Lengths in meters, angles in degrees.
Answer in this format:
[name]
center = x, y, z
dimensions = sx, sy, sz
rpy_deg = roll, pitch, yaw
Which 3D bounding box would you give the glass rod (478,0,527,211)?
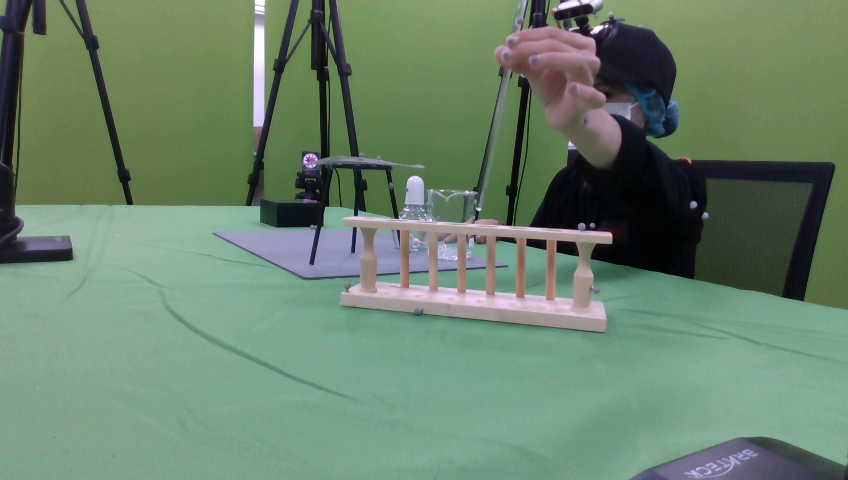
[glass rod]
center = 0.071, -0.124, 0.543
dimensions = 0.008, 0.199, 0.008
rpy_deg = 11, 6, -1

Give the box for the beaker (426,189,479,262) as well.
[beaker]
center = 0.039, -0.022, 0.871
dimensions = 0.074, 0.100, 0.084
rpy_deg = 4, 8, 12

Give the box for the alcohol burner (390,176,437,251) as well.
[alcohol burner]
center = -0.016, -0.042, 0.955
dimensions = 0.078, 0.119, 0.078
rpy_deg = 4, 6, 0

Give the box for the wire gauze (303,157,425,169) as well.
[wire gauze]
center = -0.082, -0.102, 0.799
dimensions = 0.126, 0.011, 0.121
rpy_deg = -1, 7, -30

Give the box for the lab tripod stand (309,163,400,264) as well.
[lab tripod stand]
center = -0.091, -0.037, 0.813
dimensions = 0.148, 0.131, 0.148
rpy_deg = 1, 6, 0

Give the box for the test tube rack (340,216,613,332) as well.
[test tube rack]
center = 0.047, 0.026, 0.568
dimensions = 0.242, 0.085, 0.067
rpy_deg = 4, 7, 13

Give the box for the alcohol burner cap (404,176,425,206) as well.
[alcohol burner cap]
center = -0.015, -0.077, 0.951
dimensions = 0.034, 0.048, 0.034
rpy_deg = 2, 4, 0
